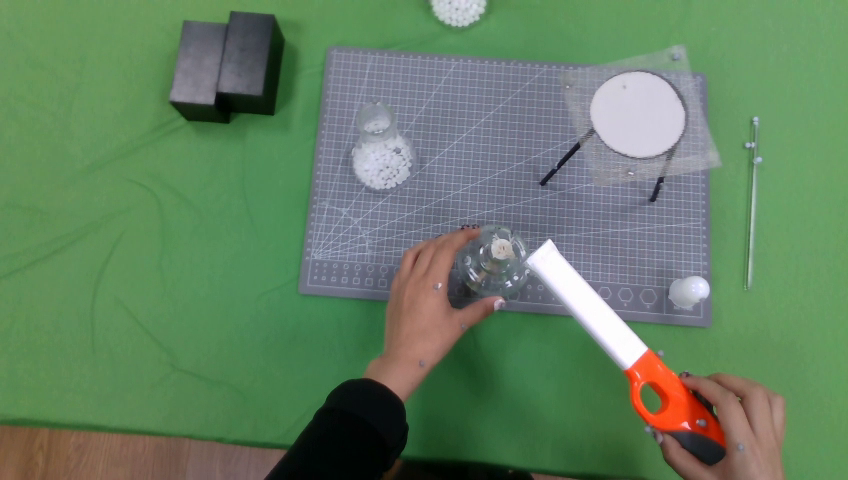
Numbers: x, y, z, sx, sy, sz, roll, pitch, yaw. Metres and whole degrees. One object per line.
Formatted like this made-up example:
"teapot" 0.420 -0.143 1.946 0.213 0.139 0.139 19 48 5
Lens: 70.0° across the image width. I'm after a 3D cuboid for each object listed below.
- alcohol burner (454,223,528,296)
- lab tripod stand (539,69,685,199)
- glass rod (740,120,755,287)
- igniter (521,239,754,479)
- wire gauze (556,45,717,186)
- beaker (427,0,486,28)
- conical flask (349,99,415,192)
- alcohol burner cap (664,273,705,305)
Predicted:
"alcohol burner" 0.071 0.017 0.615 0.078 0.119 0.077 0 78 -1
"lab tripod stand" 0.198 -0.104 0.631 0.148 0.132 0.148 0 80 1
"glass rod" 0.365 -0.044 0.685 0.008 0.008 0.199 9 78 2
"igniter" 0.188 0.112 0.531 0.057 0.025 0.276 -40 85 -13
"wire gauze" 0.198 -0.116 0.564 0.125 0.011 0.121 -12 79 -2
"beaker" 0.041 -0.299 0.692 0.084 0.100 0.073 -36 80 -8
"conical flask" -0.048 -0.103 0.635 0.075 0.122 0.075 0 78 0
"alcohol burner cap" 0.280 0.051 0.644 0.034 0.048 0.033 0 78 -1
